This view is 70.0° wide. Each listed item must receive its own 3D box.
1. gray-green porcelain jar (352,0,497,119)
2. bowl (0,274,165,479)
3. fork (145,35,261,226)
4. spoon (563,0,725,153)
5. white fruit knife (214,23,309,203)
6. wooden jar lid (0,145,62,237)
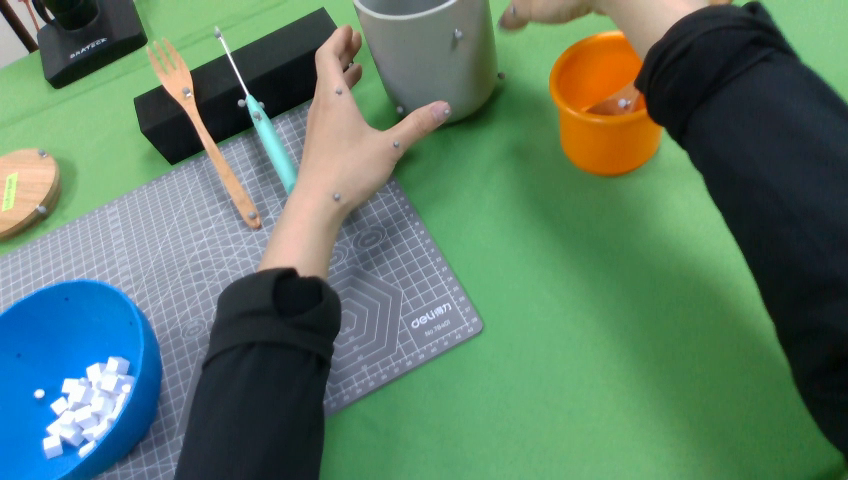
[{"bbox_3d":[0.005,-0.174,0.511,0.105,0.128,0.105,-6,58,11],"label":"gray-green porcelain jar"},{"bbox_3d":[-0.243,0.108,0.429,0.151,0.077,0.150,-6,59,11],"label":"bowl"},{"bbox_3d":[-0.196,-0.099,0.541,0.028,0.019,0.206,-29,76,-10],"label":"fork"},{"bbox_3d":[0.171,-0.133,0.433,0.022,0.194,0.041,3,52,-38],"label":"spoon"},{"bbox_3d":[-0.152,-0.121,0.544,0.016,0.027,0.206,-29,71,-4],"label":"white fruit knife"},{"bbox_3d":[-0.408,-0.047,0.601,0.108,0.021,0.107,-5,58,9],"label":"wooden jar lid"}]
